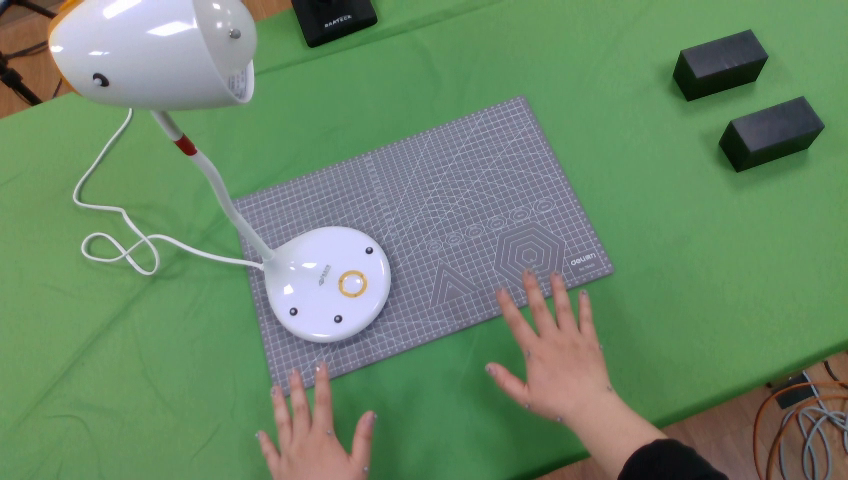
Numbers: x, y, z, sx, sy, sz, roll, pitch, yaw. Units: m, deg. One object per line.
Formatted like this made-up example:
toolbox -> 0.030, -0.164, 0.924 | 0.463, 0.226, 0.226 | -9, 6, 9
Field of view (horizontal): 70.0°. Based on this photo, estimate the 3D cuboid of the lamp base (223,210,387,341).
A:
lamp base -> -0.150, 0.020, 0.718 | 0.179, 0.182, 0.159 | 4, 67, 13

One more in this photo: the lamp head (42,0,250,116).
lamp head -> -0.199, -0.139, 0.435 | 0.123, 0.113, 0.111 | -15, 65, 7
